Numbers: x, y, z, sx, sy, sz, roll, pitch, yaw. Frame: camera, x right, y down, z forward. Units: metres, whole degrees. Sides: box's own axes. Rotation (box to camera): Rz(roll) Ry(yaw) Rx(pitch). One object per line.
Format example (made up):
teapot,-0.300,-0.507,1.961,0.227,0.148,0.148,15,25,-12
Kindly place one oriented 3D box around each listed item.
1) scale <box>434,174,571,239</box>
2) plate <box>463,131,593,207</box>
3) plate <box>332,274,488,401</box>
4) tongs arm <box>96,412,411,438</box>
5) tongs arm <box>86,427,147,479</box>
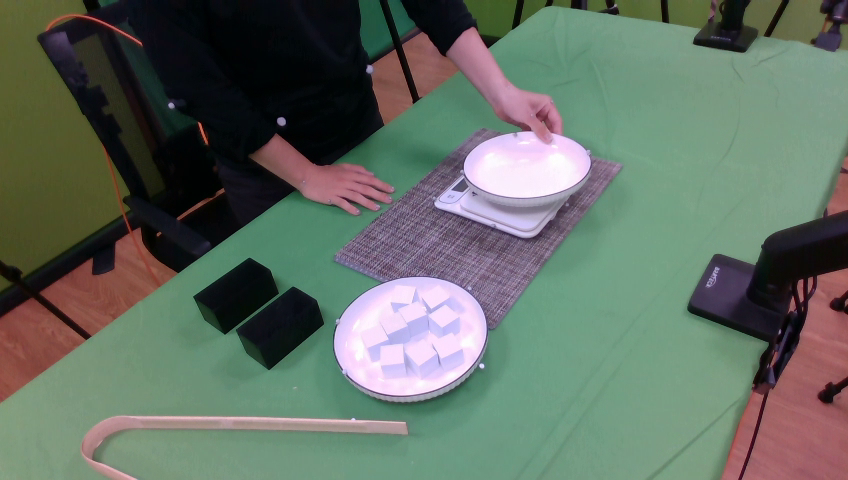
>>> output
scale,0.132,-0.075,1.025,0.199,0.032,0.149,22,48,30
plate,0.169,-0.113,0.993,0.209,0.038,0.208,-4,38,4
plate,-0.017,0.130,0.808,0.207,0.039,0.206,-4,41,4
tongs arm,-0.208,0.226,0.732,0.387,0.028,0.028,-1,43,7
tongs arm,-0.232,0.280,0.665,0.383,0.026,0.051,9,42,20
